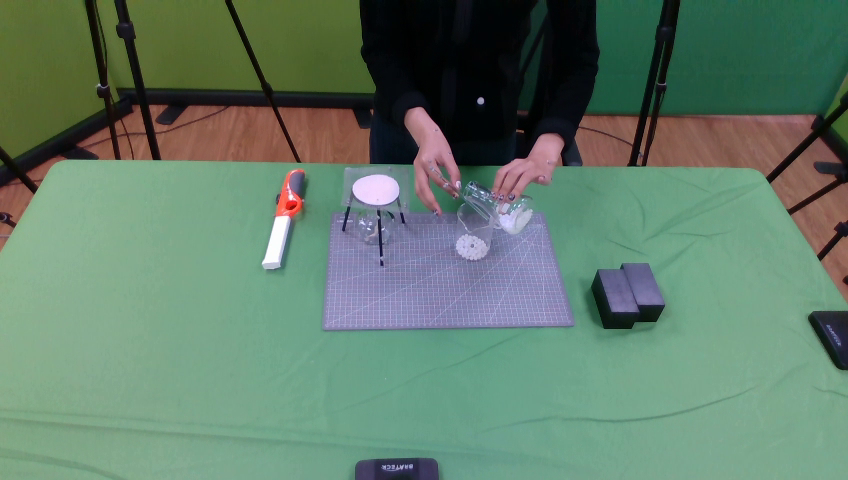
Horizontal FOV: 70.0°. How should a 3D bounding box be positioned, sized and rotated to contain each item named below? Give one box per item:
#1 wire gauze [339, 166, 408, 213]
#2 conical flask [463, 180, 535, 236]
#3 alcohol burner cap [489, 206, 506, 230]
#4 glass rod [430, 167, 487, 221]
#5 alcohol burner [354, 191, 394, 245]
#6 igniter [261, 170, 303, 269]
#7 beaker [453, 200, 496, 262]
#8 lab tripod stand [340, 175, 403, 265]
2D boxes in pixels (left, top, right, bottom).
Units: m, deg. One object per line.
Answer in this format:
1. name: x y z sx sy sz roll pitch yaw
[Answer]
1. wire gauze: -0.091 -0.096 1.110 0.125 0.011 0.120 2 45 -3
2. conical flask: 0.125 -0.064 1.057 0.121 0.076 0.075 31 52 29
3. alcohol burner cap: 0.152 -0.047 1.241 0.034 0.048 0.033 2 45 -2
4. glass rod: 0.065 -0.079 1.091 0.008 0.201 0.008 -17 56 28
5. alcohol burner: -0.096 -0.048 1.171 0.078 0.119 0.077 4 45 -4
6. igniter: -0.283 -0.050 1.222 0.057 0.025 0.275 -4 45 6
7. beaker: 0.094 -0.012 1.162 0.074 0.101 0.083 16 48 12
8. lab tripod stand: -0.094 -0.050 1.160 0.148 0.132 0.147 2 44 -2
